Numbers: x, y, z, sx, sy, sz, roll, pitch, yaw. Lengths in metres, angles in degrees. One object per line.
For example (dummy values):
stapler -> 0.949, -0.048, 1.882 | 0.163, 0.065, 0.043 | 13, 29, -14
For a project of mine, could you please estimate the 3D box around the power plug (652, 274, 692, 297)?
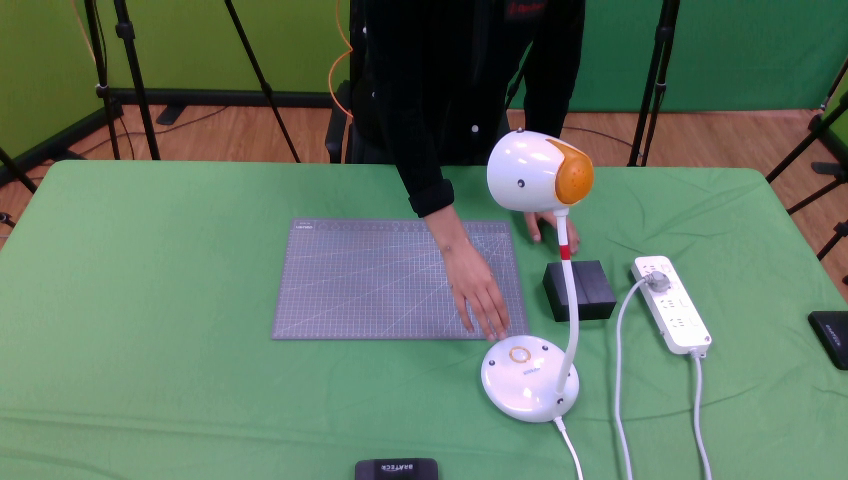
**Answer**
power plug -> 0.446, 0.093, 1.102 | 0.035, 0.053, 0.072 | -27, 57, -6

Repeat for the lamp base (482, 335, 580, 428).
lamp base -> 0.185, 0.177, 0.928 | 0.161, 0.181, 0.178 | -22, 53, -23

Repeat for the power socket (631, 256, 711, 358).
power socket -> 0.449, 0.115, 1.112 | 0.072, 0.033, 0.225 | -4, 47, -6

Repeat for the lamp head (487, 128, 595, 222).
lamp head -> 0.160, -0.084, 0.791 | 0.112, 0.113, 0.122 | -24, 28, -25
